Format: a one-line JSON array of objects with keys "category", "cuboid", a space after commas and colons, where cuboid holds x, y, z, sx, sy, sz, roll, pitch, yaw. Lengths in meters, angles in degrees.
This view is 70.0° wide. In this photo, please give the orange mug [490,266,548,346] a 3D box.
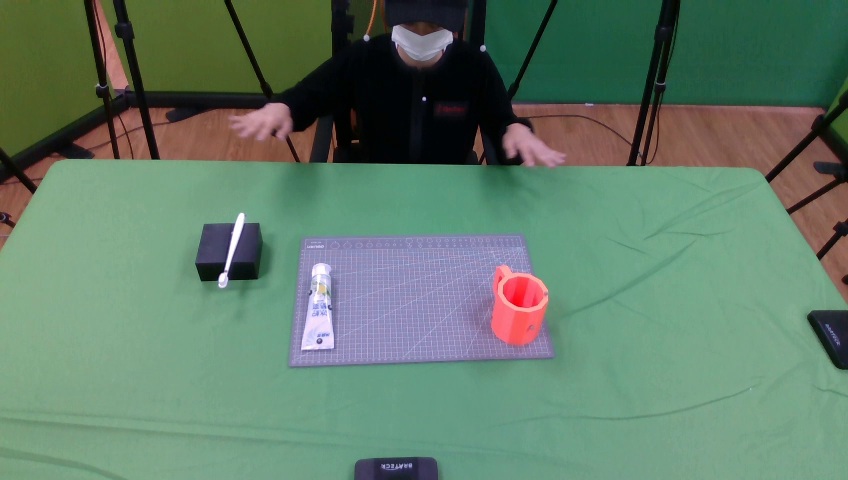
[{"category": "orange mug", "cuboid": [0.155, 0.107, 1.051, 0.083, 0.101, 0.125, -15, 53, -18]}]

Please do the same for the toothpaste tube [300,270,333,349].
[{"category": "toothpaste tube", "cuboid": [-0.187, 0.118, 1.062, 0.055, 0.035, 0.164, -6, 50, -1]}]

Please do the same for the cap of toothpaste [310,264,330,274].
[{"category": "cap of toothpaste", "cuboid": [-0.191, 0.057, 1.111, 0.037, 0.037, 0.011, -2, 50, -6]}]

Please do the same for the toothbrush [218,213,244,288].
[{"category": "toothbrush", "cuboid": [-0.347, 0.013, 1.093, 0.014, 0.017, 0.180, -2, 46, 1]}]
